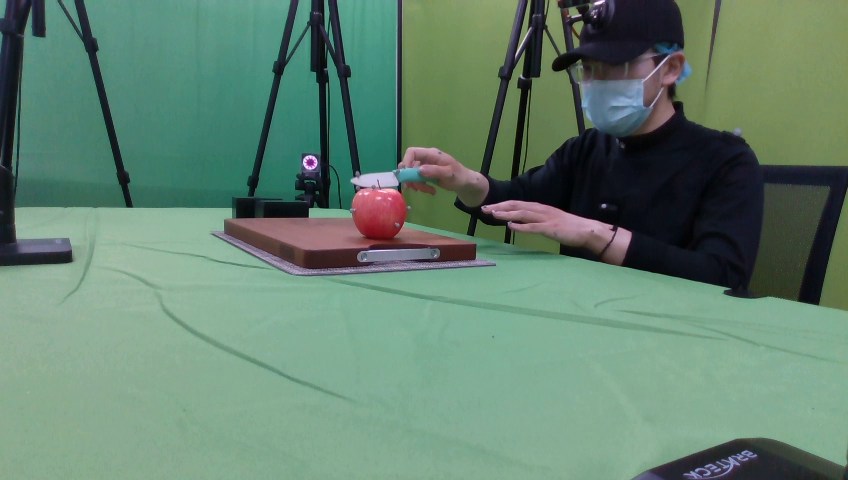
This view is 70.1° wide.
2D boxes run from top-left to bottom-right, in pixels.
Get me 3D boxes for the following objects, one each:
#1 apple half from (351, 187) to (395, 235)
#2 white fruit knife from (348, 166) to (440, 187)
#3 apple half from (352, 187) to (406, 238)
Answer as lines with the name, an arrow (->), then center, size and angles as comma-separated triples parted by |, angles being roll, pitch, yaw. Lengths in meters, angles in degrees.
apple half -> -0.083, -0.045, 0.913 | 0.082, 0.081, 0.032 | -3, 12, -37
white fruit knife -> -0.042, -0.099, 0.940 | 0.016, 0.027, 0.208 | -5, 5, 39
apple half -> -0.059, -0.039, 0.883 | 0.081, 0.074, 0.053 | 2, 10, -39
